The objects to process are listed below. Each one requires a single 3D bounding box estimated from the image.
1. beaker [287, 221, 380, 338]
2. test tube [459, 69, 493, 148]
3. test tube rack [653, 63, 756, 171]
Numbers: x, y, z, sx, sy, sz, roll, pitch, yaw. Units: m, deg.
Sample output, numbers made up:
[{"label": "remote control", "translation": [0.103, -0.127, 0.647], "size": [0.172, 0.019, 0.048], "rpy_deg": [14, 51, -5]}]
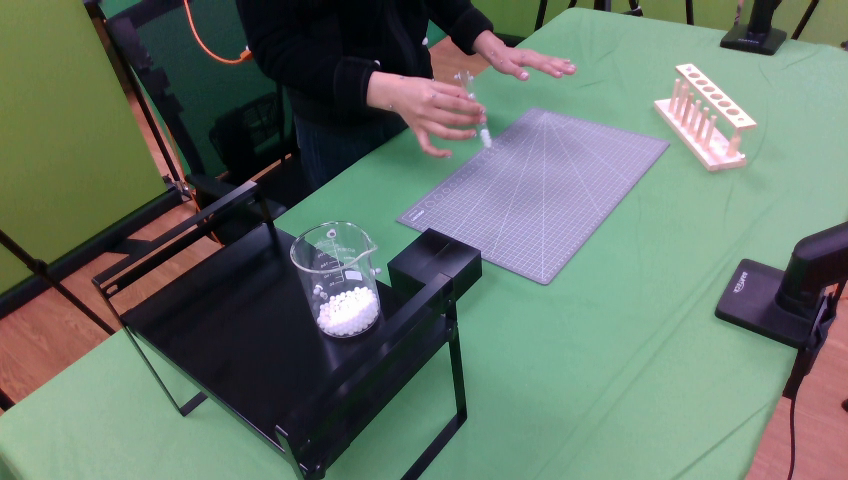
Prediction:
[{"label": "beaker", "translation": [-0.083, 0.042, 0.602], "size": [0.084, 0.101, 0.073], "rpy_deg": [-5, 41, 3]}, {"label": "test tube", "translation": [0.081, -0.198, 0.926], "size": [0.017, 0.151, 0.017], "rpy_deg": [-12, 49, 15]}, {"label": "test tube rack", "translation": [0.510, -0.233, 1.120], "size": [0.067, 0.085, 0.241], "rpy_deg": [-8, 41, -1]}]
